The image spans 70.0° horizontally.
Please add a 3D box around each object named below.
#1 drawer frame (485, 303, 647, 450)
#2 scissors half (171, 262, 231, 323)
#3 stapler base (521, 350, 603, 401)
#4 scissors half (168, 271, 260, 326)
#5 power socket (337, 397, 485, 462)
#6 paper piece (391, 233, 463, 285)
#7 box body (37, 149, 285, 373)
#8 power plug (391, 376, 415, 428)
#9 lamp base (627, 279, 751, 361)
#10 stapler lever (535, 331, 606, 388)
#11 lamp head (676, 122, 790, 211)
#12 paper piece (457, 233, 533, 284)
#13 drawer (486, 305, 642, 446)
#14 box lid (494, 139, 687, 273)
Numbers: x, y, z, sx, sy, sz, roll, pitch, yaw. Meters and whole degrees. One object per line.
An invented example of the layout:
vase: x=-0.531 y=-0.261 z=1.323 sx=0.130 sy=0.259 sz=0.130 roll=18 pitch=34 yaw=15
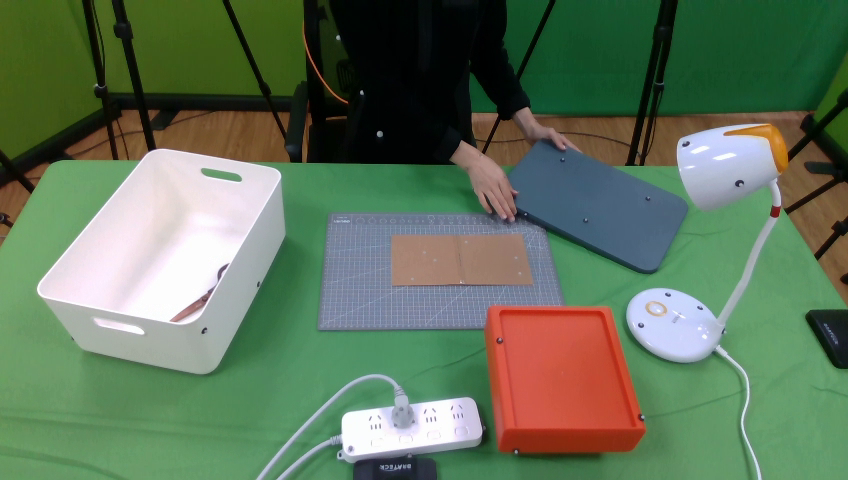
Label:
drawer frame: x=0.204 y=0.202 z=0.917 sx=0.202 sy=0.083 sz=0.212 roll=1 pitch=47 yaw=-4
scissors half: x=-0.383 y=0.092 z=1.076 sx=0.040 sy=0.013 sz=0.175 roll=32 pitch=54 yaw=14
stapler base: x=0.217 y=0.203 z=0.942 sx=0.130 sy=0.024 sz=0.041 roll=26 pitch=33 yaw=16
scissors half: x=-0.369 y=0.105 z=1.071 sx=0.175 sy=0.013 sz=0.040 roll=-29 pitch=68 yaw=-28
power socket: x=-0.018 y=0.285 z=0.915 sx=0.227 sy=0.033 sz=0.071 roll=-4 pitch=46 yaw=-8
paper piece: x=0.004 y=0.035 z=1.170 sx=0.135 sy=0.004 sz=0.135 roll=1 pitch=46 yaw=-4
box body: x=-0.414 y=0.029 z=1.040 sx=0.254 sy=0.161 sz=0.362 roll=10 pitch=46 yaw=5
power plug: x=-0.030 y=0.249 z=0.917 sx=0.035 sy=0.053 sz=0.072 roll=3 pitch=46 yaw=0
lamp base: x=0.460 y=0.100 z=1.027 sx=0.178 sy=0.181 sz=0.160 roll=27 pitch=51 yaw=17
stapler lever: x=0.225 y=0.181 z=0.929 sx=0.118 sy=0.040 sz=0.027 roll=27 pitch=34 yaw=15
lamp head: x=0.423 y=-0.104 z=0.819 sx=0.122 sy=0.113 sz=0.112 roll=-13 pitch=33 yaw=40
paper piece: x=0.136 y=0.035 z=1.182 sx=0.136 sy=0.009 sz=0.137 roll=2 pitch=45 yaw=-7
drawer: x=0.202 y=0.200 z=0.919 sx=0.195 sy=0.073 sz=0.210 roll=2 pitch=47 yaw=-4
box lid: x=0.359 y=-0.087 z=1.305 sx=0.370 sy=0.015 sz=0.263 roll=29 pitch=50 yaw=17
